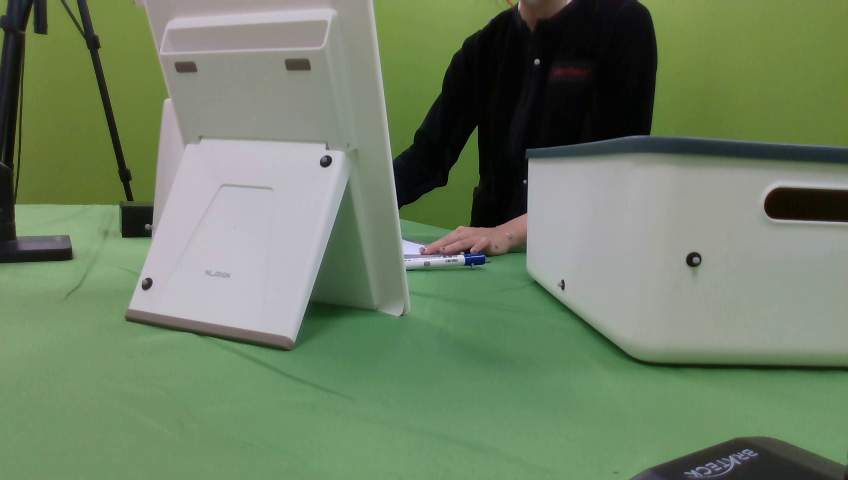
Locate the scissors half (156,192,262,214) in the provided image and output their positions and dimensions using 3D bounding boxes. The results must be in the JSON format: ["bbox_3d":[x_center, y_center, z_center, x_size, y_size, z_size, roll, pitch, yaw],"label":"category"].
[{"bbox_3d":[-0.371,-0.069,1.051,0.176,0.040,0.013,2,25,-24],"label":"scissors half"}]

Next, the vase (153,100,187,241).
[{"bbox_3d":[-0.278,-0.066,0.736,0.098,0.200,0.098,2,9,0],"label":"vase"}]

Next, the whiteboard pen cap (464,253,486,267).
[{"bbox_3d":[0.066,0.027,0.818,0.033,0.018,0.018,-5,10,-24],"label":"whiteboard pen cap"}]

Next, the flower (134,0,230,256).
[{"bbox_3d":[-0.282,-0.147,0.713,0.038,0.362,0.044,-23,24,-31],"label":"flower"}]

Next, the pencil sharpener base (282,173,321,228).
[{"bbox_3d":[-0.247,-0.080,1.212,0.061,0.107,0.076,-2,5,-28],"label":"pencil sharpener base"}]

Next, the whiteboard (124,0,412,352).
[{"bbox_3d":[-0.151,-0.049,0.472,0.216,0.305,0.144,6,27,24],"label":"whiteboard"}]

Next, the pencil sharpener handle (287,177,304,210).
[{"bbox_3d":[-0.269,-0.096,1.257,0.036,0.067,0.030,-8,8,-27],"label":"pencil sharpener handle"}]

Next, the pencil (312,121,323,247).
[{"bbox_3d":[-0.162,-0.086,0.927,0.012,0.194,0.012,-3,-2,0],"label":"pencil"}]

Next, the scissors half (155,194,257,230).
[{"bbox_3d":[-0.378,-0.051,1.059,0.176,0.040,0.012,20,22,-31],"label":"scissors half"}]

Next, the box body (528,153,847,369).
[{"bbox_3d":[0.258,-0.005,0.591,0.254,0.160,0.363,2,7,-4],"label":"box body"}]

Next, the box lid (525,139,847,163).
[{"bbox_3d":[0.261,-0.078,0.580,0.264,0.015,0.371,2,7,-4],"label":"box lid"}]

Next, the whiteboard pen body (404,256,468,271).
[{"bbox_3d":[0.013,0.030,0.792,0.141,0.017,0.017,-3,9,-24],"label":"whiteboard pen body"}]

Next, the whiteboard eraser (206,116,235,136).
[{"bbox_3d":[-0.450,-0.252,1.335,0.056,0.042,0.112,1,7,-22],"label":"whiteboard eraser"}]
